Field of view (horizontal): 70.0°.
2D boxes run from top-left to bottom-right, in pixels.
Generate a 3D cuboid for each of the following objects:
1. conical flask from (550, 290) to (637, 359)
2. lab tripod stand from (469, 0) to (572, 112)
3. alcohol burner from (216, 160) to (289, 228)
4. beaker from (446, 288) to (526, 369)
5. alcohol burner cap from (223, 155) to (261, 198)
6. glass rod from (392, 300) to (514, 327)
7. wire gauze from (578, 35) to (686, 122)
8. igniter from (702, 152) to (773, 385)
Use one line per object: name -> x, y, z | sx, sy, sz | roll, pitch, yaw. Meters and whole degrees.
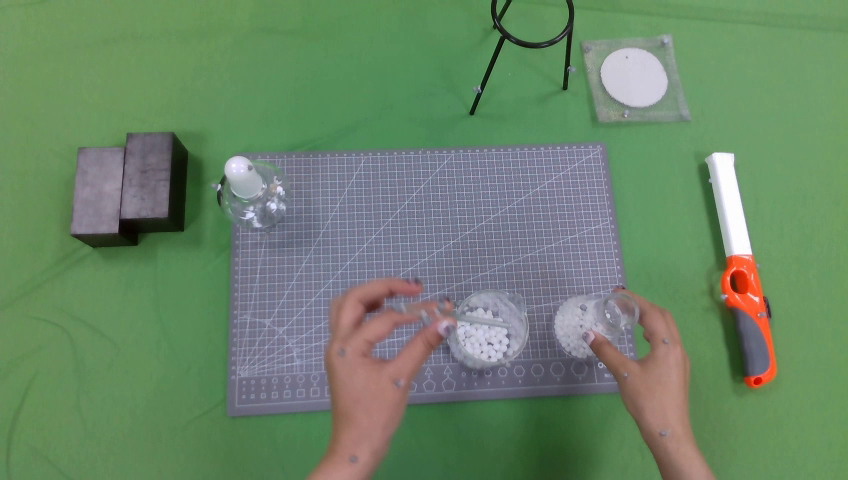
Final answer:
conical flask -> 0.181, 0.081, 0.629 | 0.075, 0.122, 0.075 | 1, 74, -2
lab tripod stand -> 0.109, -0.225, 0.705 | 0.148, 0.132, 0.147 | 1, 76, -3
alcohol burner -> -0.187, -0.056, 0.648 | 0.078, 0.119, 0.077 | 0, 75, -1
beaker -> 0.063, 0.094, 0.631 | 0.074, 0.100, 0.084 | 44, 76, 9
alcohol burner cap -> -0.186, -0.067, 0.614 | 0.034, 0.048, 0.033 | 2, 67, -4
glass rod -> 0.032, 0.060, 0.478 | 0.008, 0.201, 0.008 | -7, 76, 29
wire gauze -> 0.267, -0.206, 0.774 | 0.125, 0.011, 0.121 | -4, 75, -6
igniter -> 0.365, 0.028, 0.707 | 0.057, 0.025, 0.275 | 1, 75, -15
